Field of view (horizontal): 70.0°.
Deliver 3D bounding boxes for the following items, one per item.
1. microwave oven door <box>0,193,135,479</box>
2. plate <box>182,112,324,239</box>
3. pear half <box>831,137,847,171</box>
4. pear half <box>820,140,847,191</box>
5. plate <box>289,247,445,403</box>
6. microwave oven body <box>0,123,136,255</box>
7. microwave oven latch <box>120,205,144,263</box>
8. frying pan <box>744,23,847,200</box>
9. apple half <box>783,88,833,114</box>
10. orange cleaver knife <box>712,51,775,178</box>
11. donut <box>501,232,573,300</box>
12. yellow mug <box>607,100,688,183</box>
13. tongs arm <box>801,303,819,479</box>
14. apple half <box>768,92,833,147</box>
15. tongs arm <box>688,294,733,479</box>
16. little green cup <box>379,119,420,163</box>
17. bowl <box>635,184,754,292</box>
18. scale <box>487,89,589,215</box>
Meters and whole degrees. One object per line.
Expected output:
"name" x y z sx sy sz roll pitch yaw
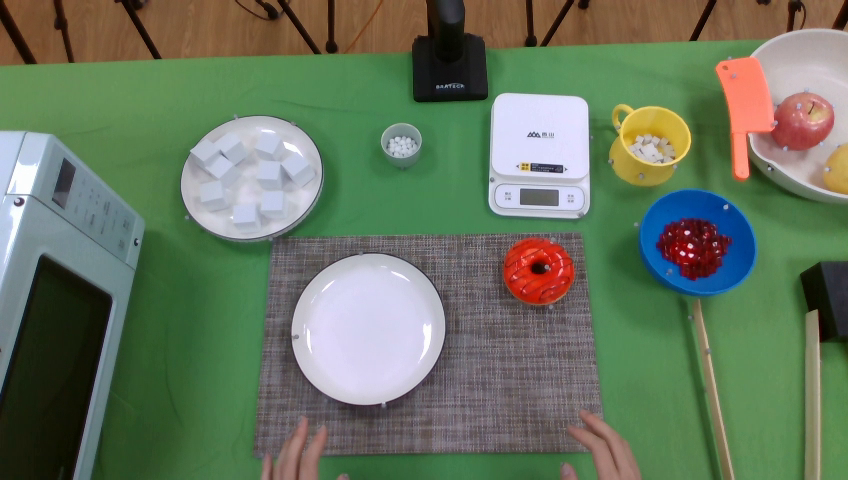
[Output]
"microwave oven door" -0.430 0.156 0.678 0.039 0.245 0.353 1 68 2
"plate" -0.250 -0.094 0.902 0.208 0.039 0.206 0 69 1
"pear half" 0.628 -0.128 0.864 0.070 0.088 0.031 31 74 16
"pear half" 0.605 -0.106 0.845 0.076 0.110 0.056 33 73 17
"plate" -0.074 0.113 0.813 0.209 0.038 0.207 0 69 1
"microwave oven body" -0.574 0.115 0.703 0.326 0.262 0.438 2 69 1
"microwave oven latch" -0.417 -0.009 0.852 0.030 0.030 0.078 3 69 2
"frying pan" 0.644 -0.106 0.852 0.307 0.103 0.483 -27 62 -8
"apple half" 0.569 -0.198 0.900 0.081 0.082 0.033 38 77 15
"orange cleaver knife" 0.460 -0.184 0.867 0.077 0.012 0.210 3 69 5
"donut" 0.154 0.036 0.835 0.099 0.048 0.098 -1 69 3
"yellow mug" 0.320 -0.156 0.899 0.100 0.064 0.130 -32 70 -10
"tongs arm" 0.474 0.262 0.757 0.028 0.028 0.385 16 70 -2
"apple half" 0.544 -0.169 0.890 0.080 0.075 0.053 39 78 12
"tongs arm" 0.387 0.255 0.755 0.051 0.026 0.382 1 70 -4
"little green cup" -0.036 -0.147 0.918 0.061 0.039 0.061 0 68 2
"bowl" 0.357 0.008 0.828 0.151 0.077 0.150 0 69 1
"scale" 0.172 -0.136 0.912 0.148 0.032 0.199 3 69 3
